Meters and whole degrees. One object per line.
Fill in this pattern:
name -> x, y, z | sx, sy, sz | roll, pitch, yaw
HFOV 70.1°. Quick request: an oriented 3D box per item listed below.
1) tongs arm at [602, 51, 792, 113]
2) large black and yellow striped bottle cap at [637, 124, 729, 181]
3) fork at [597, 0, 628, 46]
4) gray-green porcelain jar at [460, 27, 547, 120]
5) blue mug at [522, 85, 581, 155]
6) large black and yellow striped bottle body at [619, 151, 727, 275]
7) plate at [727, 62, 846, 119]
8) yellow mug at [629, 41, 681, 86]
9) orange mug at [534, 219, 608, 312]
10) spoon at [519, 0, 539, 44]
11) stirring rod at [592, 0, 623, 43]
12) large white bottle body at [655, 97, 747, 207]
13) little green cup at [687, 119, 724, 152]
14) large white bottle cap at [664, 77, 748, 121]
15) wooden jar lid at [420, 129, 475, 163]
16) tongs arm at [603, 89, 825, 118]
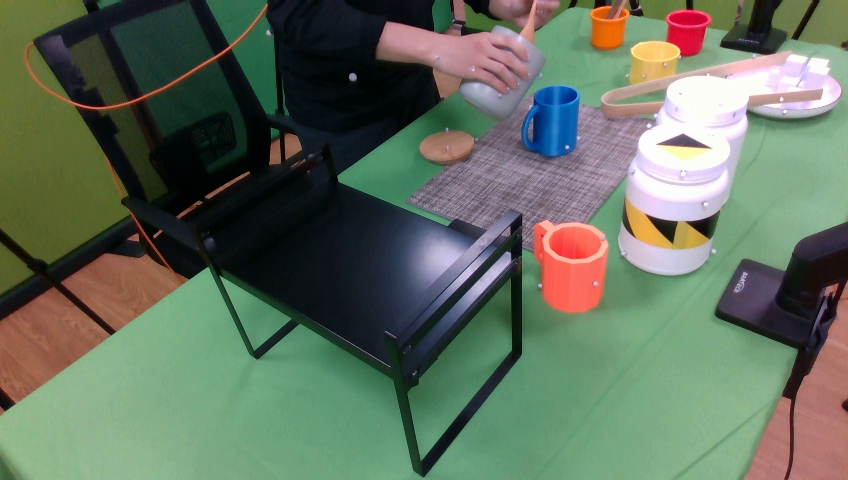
tongs arm -> 0.552, -0.320, 1.224 | 0.384, 0.027, 0.050 | -10, 43, 7
large black and yellow striped bottle cap -> 0.346, -0.119, 0.810 | 0.115, 0.019, 0.114 | -5, 41, 5
fork -> 0.479, -0.558, 1.455 | 0.028, 0.019, 0.207 | 35, 100, 38
gray-green porcelain jar -> 0.130, -0.278, 1.029 | 0.105, 0.107, 0.126 | 39, 100, 41
blue mug -> 0.233, -0.218, 1.127 | 0.117, 0.106, 0.081 | -22, 43, -16
large black and yellow striped bottle body -> 0.354, -0.056, 0.865 | 0.131, 0.185, 0.130 | -4, 41, 4
plate -> 0.710, -0.292, 1.198 | 0.207, 0.039, 0.206 | -4, 40, 4
yellow mug -> 0.495, -0.389, 1.321 | 0.100, 0.064, 0.130 | -14, 40, -7
orange mug -> 0.200, 0.027, 0.858 | 0.084, 0.101, 0.125 | -24, 48, -18
spoon -> 0.187, -0.391, 1.019 | 0.042, 0.193, 0.021 | 14, 8, -30
stirring rod -> 0.460, -0.557, 1.461 | 0.014, 0.176, 0.006 | 35, 11, 22
large white bottle body -> 0.431, -0.148, 0.959 | 0.130, 0.185, 0.130 | -4, 41, 4
little green cup -> 0.514, -0.191, 1.109 | 0.061, 0.039, 0.061 | -5, 40, 5
large white bottle cap -> 0.421, -0.212, 0.905 | 0.115, 0.018, 0.114 | -4, 40, 4
wooden jar lid -> 0.047, -0.183, 1.183 | 0.108, 0.021, 0.108 | -6, 37, 5
tongs arm -> 0.546, -0.262, 1.163 | 0.386, 0.028, 0.028 | -1, 49, 18
